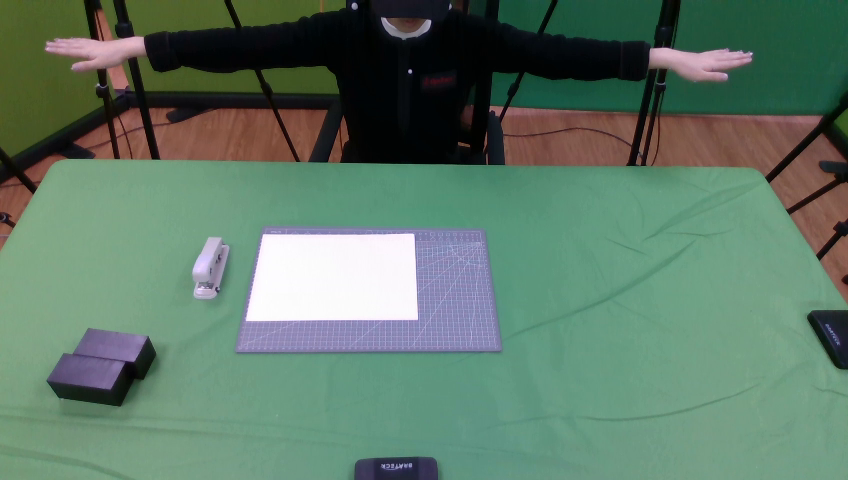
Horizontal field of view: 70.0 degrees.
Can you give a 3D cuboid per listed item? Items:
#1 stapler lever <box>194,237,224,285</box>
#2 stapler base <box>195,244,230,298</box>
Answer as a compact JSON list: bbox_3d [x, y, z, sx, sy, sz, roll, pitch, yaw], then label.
[{"bbox_3d":[-0.390,0.031,1.101,0.027,0.040,0.117,2,44,-5],"label":"stapler lever"},{"bbox_3d":[-0.391,0.050,1.118,0.041,0.024,0.129,2,44,-5],"label":"stapler base"}]
